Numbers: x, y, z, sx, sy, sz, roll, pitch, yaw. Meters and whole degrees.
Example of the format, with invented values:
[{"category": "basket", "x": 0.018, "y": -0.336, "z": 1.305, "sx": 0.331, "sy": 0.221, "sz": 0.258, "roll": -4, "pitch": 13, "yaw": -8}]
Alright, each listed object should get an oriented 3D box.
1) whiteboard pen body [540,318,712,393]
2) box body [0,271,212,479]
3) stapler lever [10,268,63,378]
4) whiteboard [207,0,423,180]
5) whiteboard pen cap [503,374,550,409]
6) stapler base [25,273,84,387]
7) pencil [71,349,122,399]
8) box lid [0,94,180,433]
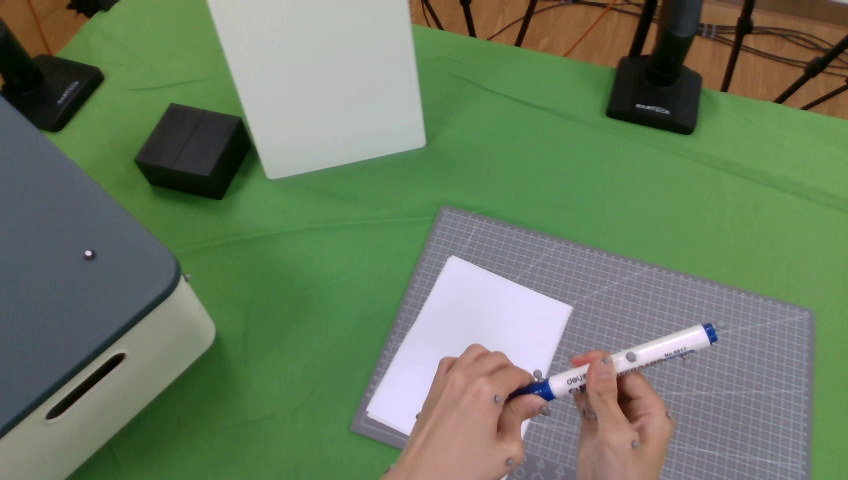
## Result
[{"category": "whiteboard pen body", "x": 0.128, "y": 0.085, "z": 0.421, "sx": 0.140, "sy": 0.017, "sz": 0.017, "roll": -24, "pitch": 58, "yaw": 14}, {"category": "box body", "x": -0.433, "y": 0.047, "z": 0.624, "sx": 0.361, "sy": 0.162, "sz": 0.253, "roll": 36, "pitch": 66, "yaw": 19}, {"category": "stapler lever", "x": -0.417, "y": 0.085, "z": 0.645, "sx": 0.027, "sy": 0.040, "sz": 0.117, "roll": -11, "pitch": 60, "yaw": 17}, {"category": "whiteboard", "x": -0.135, "y": -0.261, "z": 0.758, "sx": 0.217, "sy": 0.308, "sz": 0.142, "roll": -13, "pitch": 41, "yaw": -7}, {"category": "whiteboard pen cap", "x": 0.075, "y": 0.109, "z": 0.436, "sx": 0.033, "sy": 0.018, "sz": 0.018, "roll": -21, "pitch": 60, "yaw": 6}, {"category": "stapler base", "x": -0.410, "y": 0.094, "z": 0.665, "sx": 0.041, "sy": 0.025, "sz": 0.129, "roll": -11, "pitch": 62, "yaw": 17}, {"category": "pencil", "x": -0.339, "y": 0.127, "z": 0.655, "sx": 0.012, "sy": 0.012, "sz": 0.193, "roll": 19, "pitch": 52, "yaw": 12}, {"category": "box lid", "x": -0.435, "y": 0.008, "z": 0.561, "sx": 0.369, "sy": 0.015, "sz": 0.263, "roll": 36, "pitch": 66, "yaw": 19}]
